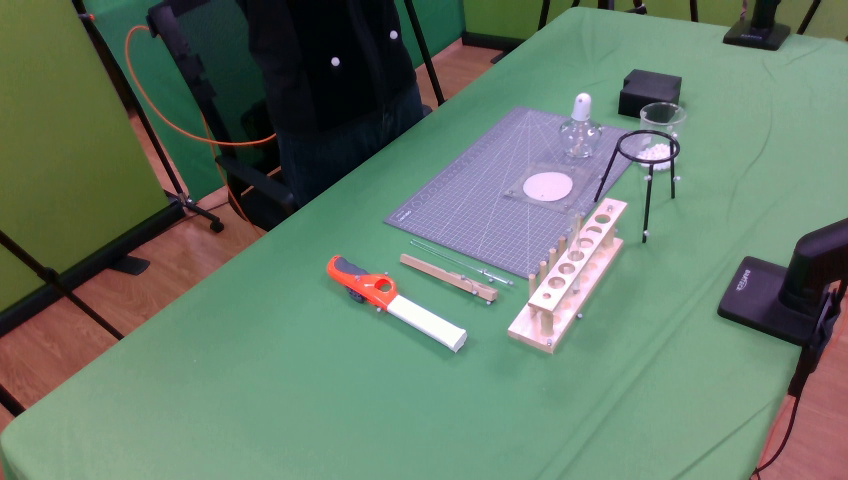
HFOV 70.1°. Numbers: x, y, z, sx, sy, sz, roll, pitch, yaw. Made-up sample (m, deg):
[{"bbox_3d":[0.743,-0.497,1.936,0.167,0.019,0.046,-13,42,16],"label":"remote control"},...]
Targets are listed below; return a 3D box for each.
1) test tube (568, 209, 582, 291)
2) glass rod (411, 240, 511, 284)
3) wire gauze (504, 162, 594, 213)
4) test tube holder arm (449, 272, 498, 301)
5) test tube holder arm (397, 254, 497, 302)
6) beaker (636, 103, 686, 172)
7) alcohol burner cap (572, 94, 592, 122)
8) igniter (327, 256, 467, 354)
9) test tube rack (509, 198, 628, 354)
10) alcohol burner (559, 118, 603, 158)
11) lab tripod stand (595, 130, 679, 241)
[{"bbox_3d":[0.200,0.017,0.799,0.017,0.151,0.017,-8,45,8],"label":"test tube"},{"bbox_3d":[0.053,0.033,0.946,0.198,0.008,0.008,22,50,36],"label":"glass rod"},{"bbox_3d":[0.220,-0.098,1.065,0.124,0.011,0.122,17,47,32],"label":"wire gauze"},{"bbox_3d":[0.070,0.068,0.894,0.087,0.015,0.010,22,12,31],"label":"test tube holder arm"},{"bbox_3d":[0.031,0.054,0.912,0.177,0.015,0.013,21,12,29],"label":"test tube holder arm"},{"bbox_3d":[0.413,-0.177,1.055,0.084,0.101,0.073,-28,44,-21],"label":"beaker"},{"bbox_3d":[0.284,-0.238,1.079,0.034,0.048,0.033,-1,48,2],"label":"alcohol burner cap"},{"bbox_3d":[-0.051,0.088,0.886,0.274,0.025,0.057,27,61,35],"label":"igniter"},{"bbox_3d":[0.206,0.039,0.850,0.066,0.085,0.243,20,48,31],"label":"test tube rack"},{"bbox_3d":[0.287,-0.212,1.104,0.078,0.119,0.077,-4,40,4],"label":"alcohol burner"},{"bbox_3d":[0.342,-0.095,0.943,0.148,0.132,0.147,-4,39,4],"label":"lab tripod stand"}]
